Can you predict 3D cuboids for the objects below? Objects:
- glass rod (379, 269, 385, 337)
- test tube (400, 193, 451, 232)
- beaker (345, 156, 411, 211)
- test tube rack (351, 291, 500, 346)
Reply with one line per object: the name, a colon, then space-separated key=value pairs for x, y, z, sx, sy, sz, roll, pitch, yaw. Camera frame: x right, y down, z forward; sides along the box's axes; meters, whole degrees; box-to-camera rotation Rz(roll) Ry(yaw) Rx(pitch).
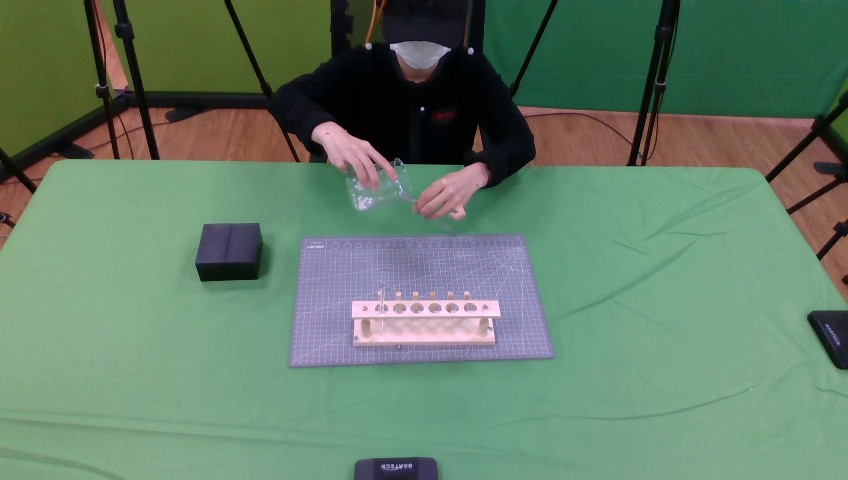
glass rod: x=-0.066 y=0.104 z=0.953 sx=0.008 sy=0.200 sz=0.008 roll=3 pitch=53 yaw=-3
test tube: x=0.006 y=-0.050 z=1.169 sx=0.017 sy=0.151 sz=0.017 roll=-21 pitch=54 yaw=31
beaker: x=-0.084 y=-0.095 z=1.081 sx=0.100 sy=0.084 sz=0.073 roll=-20 pitch=38 yaw=-16
test tube rack: x=0.000 y=0.129 z=1.026 sx=0.242 sy=0.085 sz=0.066 roll=0 pitch=46 yaw=-4
